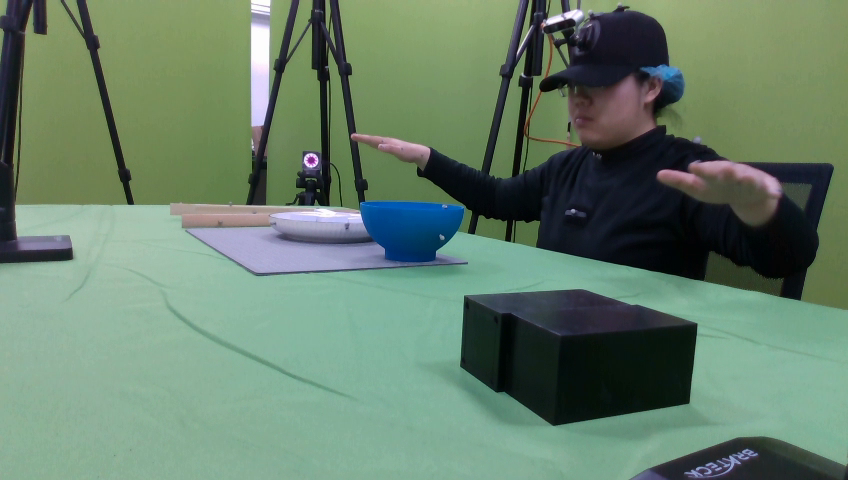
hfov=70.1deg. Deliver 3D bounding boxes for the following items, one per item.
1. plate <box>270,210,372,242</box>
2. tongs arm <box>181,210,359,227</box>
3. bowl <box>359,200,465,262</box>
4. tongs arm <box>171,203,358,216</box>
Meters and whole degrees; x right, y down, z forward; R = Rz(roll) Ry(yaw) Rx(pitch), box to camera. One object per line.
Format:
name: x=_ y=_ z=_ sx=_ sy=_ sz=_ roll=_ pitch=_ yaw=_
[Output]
plate: x=-0.161 y=-0.024 z=1.055 sx=0.208 sy=0.039 sz=0.207 roll=2 pitch=7 yaw=0
tongs arm: x=-0.291 y=-0.044 z=1.225 sx=0.390 sy=0.028 sz=0.028 roll=-3 pitch=6 yaw=-38
bowl: x=-0.018 y=-0.013 z=0.859 sx=0.151 sy=0.077 sz=0.151 roll=2 pitch=7 yaw=0
tongs arm: x=-0.331 y=-0.058 z=1.295 sx=0.387 sy=0.026 sz=0.050 roll=0 pitch=8 yaw=-25
